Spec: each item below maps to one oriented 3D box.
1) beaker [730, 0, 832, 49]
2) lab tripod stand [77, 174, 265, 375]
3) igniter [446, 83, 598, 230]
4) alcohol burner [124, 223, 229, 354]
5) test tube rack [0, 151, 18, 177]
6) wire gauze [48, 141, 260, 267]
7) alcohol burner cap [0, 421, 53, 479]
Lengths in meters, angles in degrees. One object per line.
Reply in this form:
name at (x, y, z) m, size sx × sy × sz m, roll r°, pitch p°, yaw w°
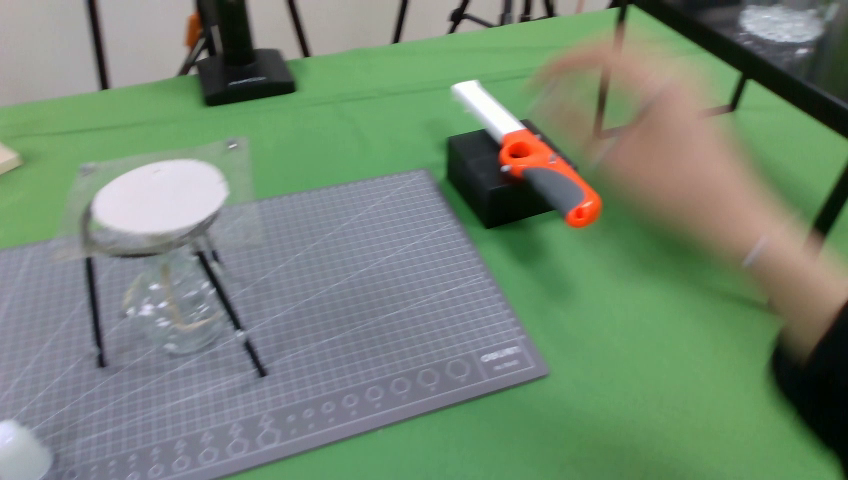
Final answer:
beaker at (0.301, -0.215, 0.495) m, size 0.073 × 0.101 × 0.083 m, roll 17°, pitch 45°, yaw 19°
lab tripod stand at (-0.183, 0.029, 0.452) m, size 0.148 × 0.132 × 0.147 m, roll 2°, pitch 41°, yaw -1°
igniter at (0.091, -0.095, 0.612) m, size 0.057 × 0.025 × 0.273 m, roll -17°, pitch 42°, yaw -15°
alcohol burner at (-0.193, 0.032, 0.464) m, size 0.078 × 0.120 × 0.077 m, roll 0°, pitch 43°, yaw 0°
test tube rack at (-0.548, -0.060, 0.588) m, size 0.066 × 0.086 × 0.242 m, roll 25°, pitch 47°, yaw 24°
wire gauze at (-0.180, -0.027, 0.415) m, size 0.125 × 0.011 × 0.120 m, roll -8°, pitch 42°, yaw -13°
alcohol burner cap at (-0.269, 0.138, 0.396) m, size 0.034 × 0.048 × 0.033 m, roll 1°, pitch 40°, yaw -1°
